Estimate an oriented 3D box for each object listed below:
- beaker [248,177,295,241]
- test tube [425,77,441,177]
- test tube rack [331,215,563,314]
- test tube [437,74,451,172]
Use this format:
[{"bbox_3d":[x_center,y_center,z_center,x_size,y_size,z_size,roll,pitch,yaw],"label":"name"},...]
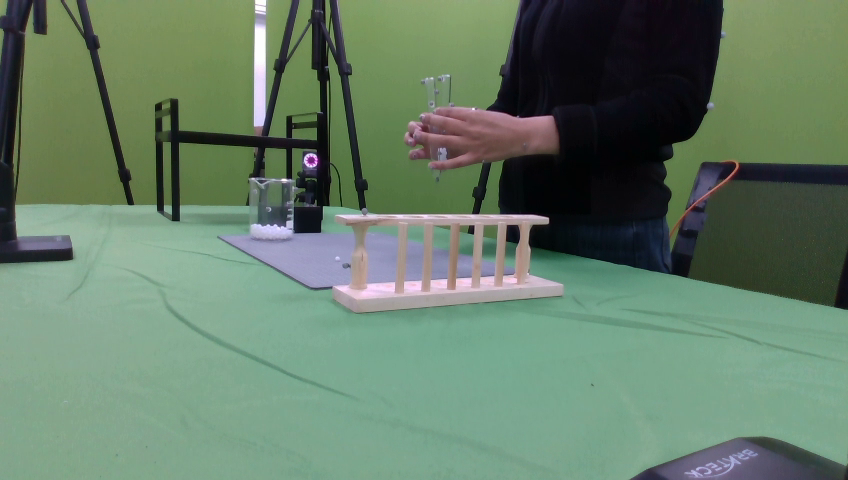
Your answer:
[{"bbox_3d":[-0.252,-0.051,0.992,0.074,0.100,0.084,3,9,6],"label":"beaker"},{"bbox_3d":[0.014,-0.172,0.924,0.017,0.150,0.017,-4,10,1],"label":"test tube"},{"bbox_3d":[0.031,0.019,0.625,0.243,0.085,0.066,-1,8,-28],"label":"test tube rack"},{"bbox_3d":[0.031,-0.181,0.941,0.017,0.150,0.017,2,13,0],"label":"test tube"}]
